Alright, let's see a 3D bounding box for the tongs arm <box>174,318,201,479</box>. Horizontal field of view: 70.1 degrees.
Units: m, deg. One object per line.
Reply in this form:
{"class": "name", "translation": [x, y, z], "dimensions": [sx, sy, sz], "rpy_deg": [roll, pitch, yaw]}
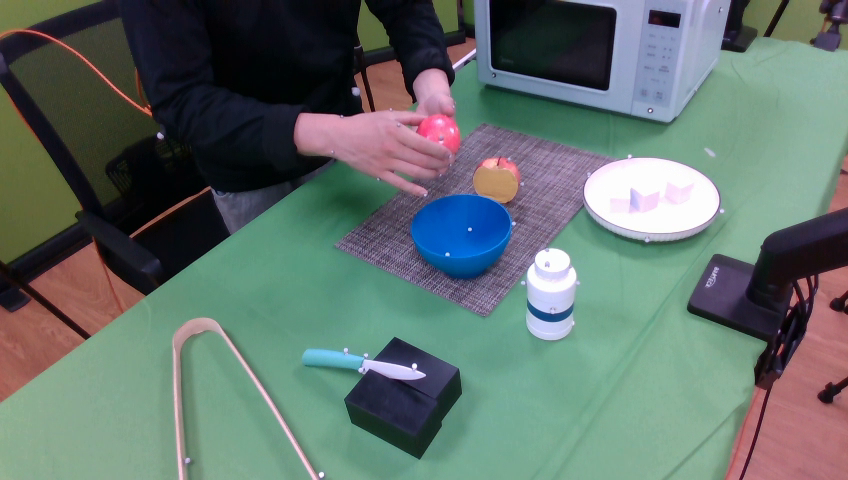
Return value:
{"class": "tongs arm", "translation": [-0.272, 0.234, 0.723], "dimensions": [0.051, 0.026, 0.381], "rpy_deg": [-19, 40, -14]}

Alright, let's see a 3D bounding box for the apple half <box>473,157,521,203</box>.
{"class": "apple half", "translation": [0.128, -0.107, 1.030], "dimensions": [0.080, 0.075, 0.053], "rpy_deg": [5, 38, 20]}

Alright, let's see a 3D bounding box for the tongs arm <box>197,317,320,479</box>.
{"class": "tongs arm", "translation": [-0.199, 0.206, 0.750], "dimensions": [0.028, 0.028, 0.384], "rpy_deg": [-31, 45, -22]}

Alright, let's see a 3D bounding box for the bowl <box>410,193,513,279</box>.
{"class": "bowl", "translation": [0.058, 0.005, 0.905], "dimensions": [0.151, 0.077, 0.150], "rpy_deg": [-4, 40, 4]}

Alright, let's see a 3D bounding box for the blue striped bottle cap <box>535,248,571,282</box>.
{"class": "blue striped bottle cap", "translation": [0.161, 0.031, 0.753], "dimensions": [0.044, 0.021, 0.044], "rpy_deg": [-4, 42, 4]}

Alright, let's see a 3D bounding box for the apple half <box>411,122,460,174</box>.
{"class": "apple half", "translation": [0.007, -0.133, 0.818], "dimensions": [0.081, 0.033, 0.081], "rpy_deg": [-20, 53, 29]}

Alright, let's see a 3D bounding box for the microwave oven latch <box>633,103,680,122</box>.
{"class": "microwave oven latch", "translation": [0.444, -0.249, 1.157], "dimensions": [0.078, 0.029, 0.030], "rpy_deg": [21, 49, 30]}

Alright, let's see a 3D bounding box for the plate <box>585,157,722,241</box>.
{"class": "plate", "translation": [0.367, -0.063, 0.979], "dimensions": [0.207, 0.039, 0.206], "rpy_deg": [-4, 40, 4]}

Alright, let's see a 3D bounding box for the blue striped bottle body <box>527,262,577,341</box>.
{"class": "blue striped bottle body", "translation": [0.165, 0.070, 0.786], "dimensions": [0.063, 0.121, 0.063], "rpy_deg": [-4, 41, 4]}

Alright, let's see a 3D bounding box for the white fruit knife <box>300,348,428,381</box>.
{"class": "white fruit knife", "translation": [-0.080, 0.154, 0.748], "dimensions": [0.206, 0.027, 0.016], "rpy_deg": [1, 20, 35]}

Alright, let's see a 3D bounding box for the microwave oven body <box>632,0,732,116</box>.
{"class": "microwave oven body", "translation": [0.377, -0.462, 1.267], "dimensions": [0.438, 0.261, 0.327], "rpy_deg": [21, 49, 30]}

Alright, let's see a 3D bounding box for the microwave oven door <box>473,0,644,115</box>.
{"class": "microwave oven door", "translation": [0.257, -0.396, 1.199], "dimensions": [0.353, 0.245, 0.039], "rpy_deg": [21, 48, 29]}
